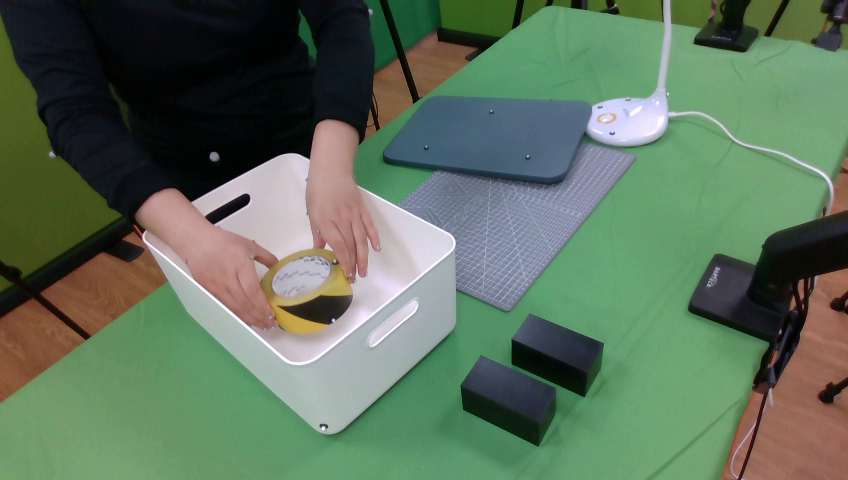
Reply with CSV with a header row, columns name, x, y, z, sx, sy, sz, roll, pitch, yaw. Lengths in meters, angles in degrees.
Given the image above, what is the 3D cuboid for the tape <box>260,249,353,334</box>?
name,x,y,z,sx,sy,sz,roll,pitch,yaw
tape,-0.153,0.067,0.797,0.117,0.053,0.116,-9,38,8

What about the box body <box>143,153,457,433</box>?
name,x,y,z,sx,sy,sz,roll,pitch,yaw
box body,-0.158,0.054,0.819,0.361,0.161,0.255,29,52,34

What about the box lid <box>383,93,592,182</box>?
name,x,y,z,sx,sy,sz,roll,pitch,yaw
box lid,0.128,-0.211,1.193,0.369,0.015,0.263,9,45,22

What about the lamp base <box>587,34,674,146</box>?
name,x,y,z,sx,sy,sz,roll,pitch,yaw
lamp base,0.392,-0.291,1.129,0.180,0.181,0.159,-11,41,-8
